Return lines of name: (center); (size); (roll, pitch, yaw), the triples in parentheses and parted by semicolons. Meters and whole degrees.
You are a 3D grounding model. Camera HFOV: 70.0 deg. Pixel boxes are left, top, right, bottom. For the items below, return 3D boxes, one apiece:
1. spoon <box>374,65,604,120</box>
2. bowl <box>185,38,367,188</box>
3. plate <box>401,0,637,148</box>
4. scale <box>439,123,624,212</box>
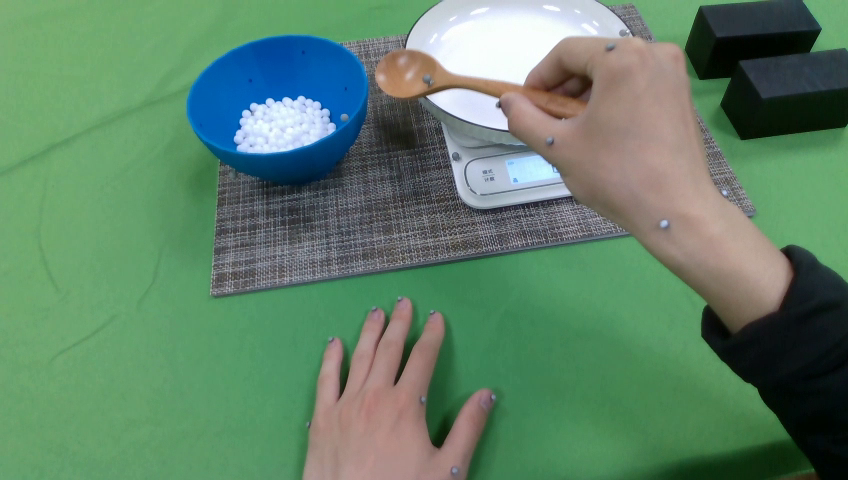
spoon: (0.032, -0.095, 0.392); (0.041, 0.022, 0.192); (-42, 37, -22)
bowl: (-0.120, -0.099, 0.533); (0.151, 0.077, 0.150); (-1, 54, 2)
plate: (0.083, -0.155, 0.550); (0.209, 0.038, 0.207); (-1, 54, 2)
scale: (0.088, -0.118, 0.563); (0.149, 0.032, 0.199); (-9, 55, -3)
